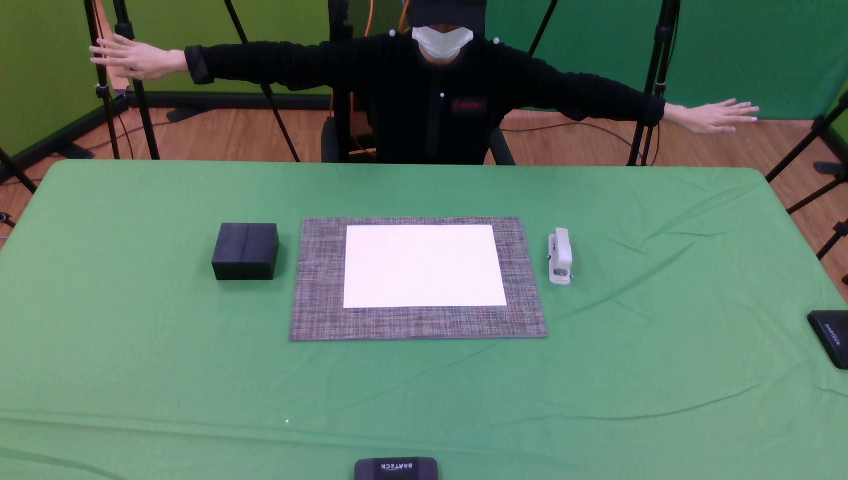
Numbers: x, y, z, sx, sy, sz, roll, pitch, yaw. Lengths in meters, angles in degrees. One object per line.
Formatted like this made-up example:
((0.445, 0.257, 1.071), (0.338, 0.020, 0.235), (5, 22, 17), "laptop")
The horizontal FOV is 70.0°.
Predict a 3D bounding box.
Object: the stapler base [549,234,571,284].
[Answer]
((0.268, 0.030, 1.188), (0.041, 0.024, 0.130), (8, 44, 2), "stapler base")

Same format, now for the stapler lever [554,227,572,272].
((0.268, 0.012, 1.172), (0.027, 0.040, 0.117), (8, 45, 2), "stapler lever")
